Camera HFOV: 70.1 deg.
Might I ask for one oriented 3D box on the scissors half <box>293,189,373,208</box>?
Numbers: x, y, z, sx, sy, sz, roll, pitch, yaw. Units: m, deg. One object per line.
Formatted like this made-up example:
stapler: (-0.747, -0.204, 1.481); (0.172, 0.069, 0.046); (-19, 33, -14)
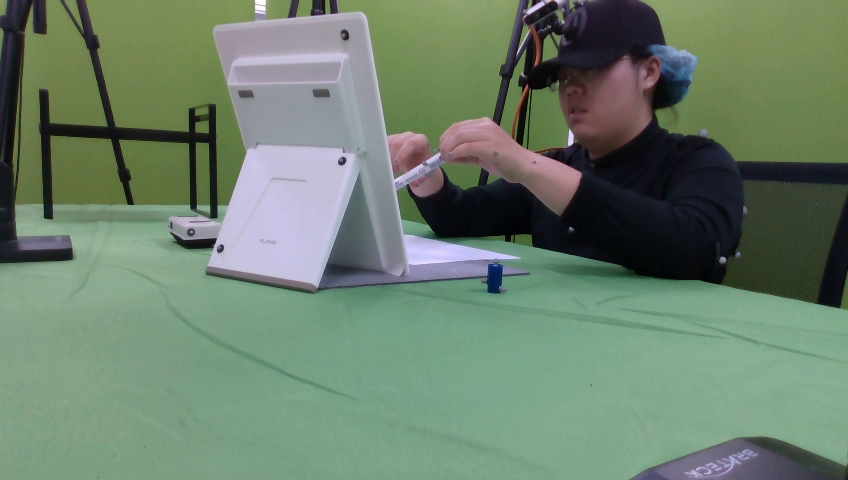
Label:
scissors half: (-0.201, -0.096, 1.333); (0.175, 0.040, 0.013); (5, 18, -4)

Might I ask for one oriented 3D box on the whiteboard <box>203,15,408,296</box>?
whiteboard: (-0.166, -0.072, 0.669); (0.216, 0.305, 0.144); (8, 30, 30)

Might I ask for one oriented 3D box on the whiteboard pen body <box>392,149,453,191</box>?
whiteboard pen body: (-0.019, -0.094, 0.876); (0.140, 0.017, 0.017); (-27, -6, 26)

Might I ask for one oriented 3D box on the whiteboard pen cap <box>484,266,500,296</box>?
whiteboard pen cap: (0.075, 0.046, 0.668); (0.018, 0.033, 0.018); (2, 6, 0)

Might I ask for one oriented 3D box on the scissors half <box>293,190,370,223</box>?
scissors half: (-0.205, -0.077, 1.338); (0.175, 0.040, 0.013); (22, 11, -8)

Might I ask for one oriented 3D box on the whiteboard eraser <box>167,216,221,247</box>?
whiteboard eraser: (-0.350, -0.014, 0.920); (0.056, 0.042, 0.112); (0, 7, -35)
